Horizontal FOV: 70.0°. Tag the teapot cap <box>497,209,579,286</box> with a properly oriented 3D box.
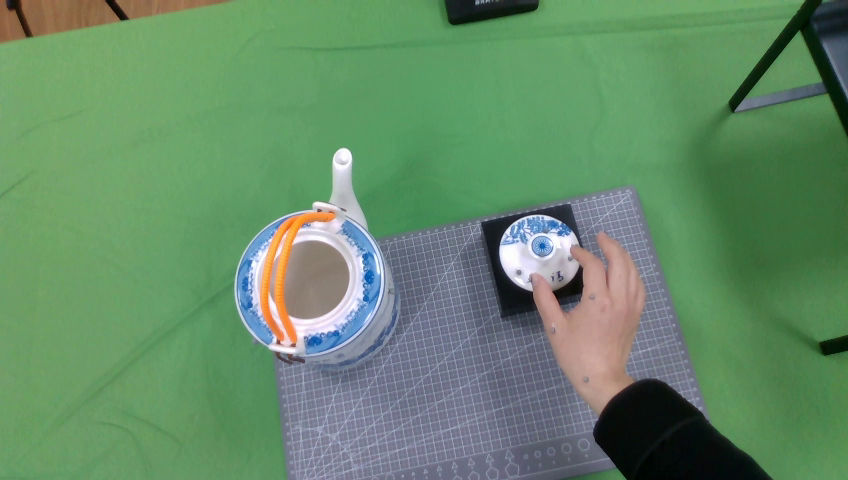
[{"bbox_3d":[0.118,0.006,0.627,0.085,0.044,0.084,-2,71,5],"label":"teapot cap"}]

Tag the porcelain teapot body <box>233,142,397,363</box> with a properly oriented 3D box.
[{"bbox_3d":[-0.102,0.012,0.598,0.145,0.226,0.204,10,75,7],"label":"porcelain teapot body"}]
